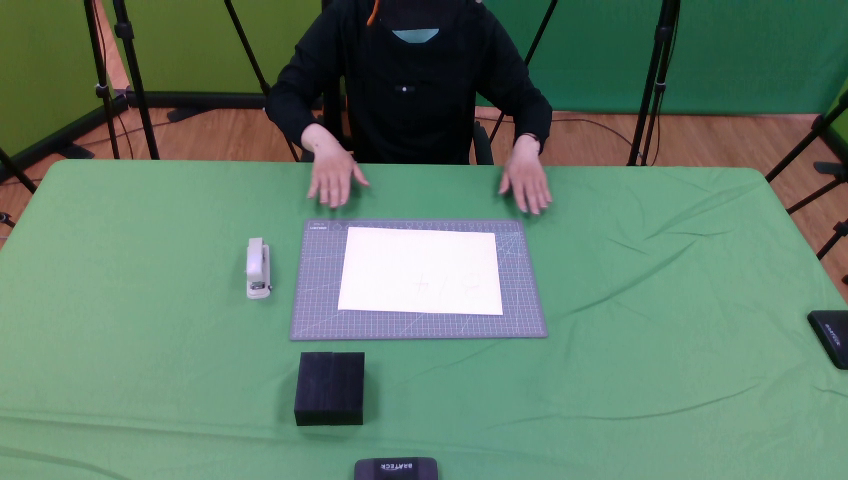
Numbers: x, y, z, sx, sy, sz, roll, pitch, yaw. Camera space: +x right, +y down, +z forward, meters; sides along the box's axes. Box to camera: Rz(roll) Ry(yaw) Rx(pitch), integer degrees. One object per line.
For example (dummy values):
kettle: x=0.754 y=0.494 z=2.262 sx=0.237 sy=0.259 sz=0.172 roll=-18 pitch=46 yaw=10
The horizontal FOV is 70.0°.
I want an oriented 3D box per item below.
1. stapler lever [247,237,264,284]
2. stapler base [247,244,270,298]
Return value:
stapler lever: x=-0.307 y=0.031 z=1.106 sx=0.027 sy=0.040 sz=0.117 roll=-4 pitch=45 yaw=-12
stapler base: x=-0.308 y=0.050 z=1.123 sx=0.041 sy=0.024 sz=0.129 roll=-4 pitch=45 yaw=-12
